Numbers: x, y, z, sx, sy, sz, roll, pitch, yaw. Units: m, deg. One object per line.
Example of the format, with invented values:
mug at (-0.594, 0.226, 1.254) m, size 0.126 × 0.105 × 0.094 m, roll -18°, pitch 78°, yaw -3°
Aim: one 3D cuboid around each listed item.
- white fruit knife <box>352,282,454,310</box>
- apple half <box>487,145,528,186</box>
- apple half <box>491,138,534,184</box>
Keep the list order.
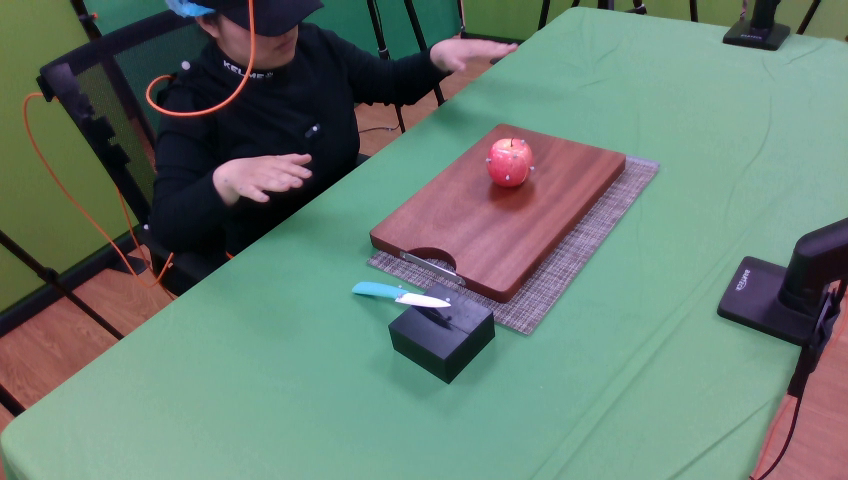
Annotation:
white fruit knife at (-0.031, 0.079, 0.856) m, size 0.205 × 0.016 × 0.027 m, roll 6°, pitch 39°, yaw 47°
apple half at (0.134, -0.118, 1.014) m, size 0.080 × 0.081 × 0.033 m, roll 18°, pitch 44°, yaw 29°
apple half at (0.156, -0.139, 1.038) m, size 0.080 × 0.075 × 0.053 m, roll 16°, pitch 42°, yaw 32°
